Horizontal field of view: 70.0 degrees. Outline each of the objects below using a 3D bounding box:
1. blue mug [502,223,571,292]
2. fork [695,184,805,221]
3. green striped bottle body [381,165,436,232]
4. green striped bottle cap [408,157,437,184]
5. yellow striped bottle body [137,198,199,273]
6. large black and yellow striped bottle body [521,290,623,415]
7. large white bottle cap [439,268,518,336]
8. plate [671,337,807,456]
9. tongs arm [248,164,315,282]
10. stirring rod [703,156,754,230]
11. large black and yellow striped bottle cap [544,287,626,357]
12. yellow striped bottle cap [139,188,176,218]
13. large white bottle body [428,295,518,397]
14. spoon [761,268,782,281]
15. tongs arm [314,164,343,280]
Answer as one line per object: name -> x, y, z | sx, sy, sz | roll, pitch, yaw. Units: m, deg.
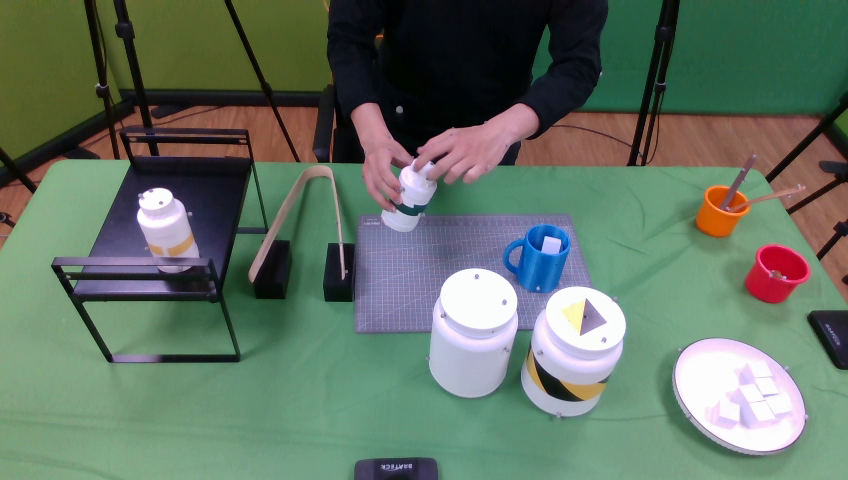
blue mug -> 0.202, 0.031, 1.121 | 0.116, 0.106, 0.082 | 5, 47, 1
fork -> 0.657, -0.075, 1.230 | 0.207, 0.019, 0.028 | -23, 34, 37
green striped bottle body -> -0.023, -0.074, 0.982 | 0.063, 0.119, 0.063 | 15, 43, -15
green striped bottle cap -> -0.002, -0.109, 0.948 | 0.044, 0.020, 0.044 | 15, 44, -15
yellow striped bottle body -> -0.366, -0.014, 0.864 | 0.063, 0.121, 0.062 | 2, 46, -2
large black and yellow striped bottle body -> 0.228, 0.173, 0.937 | 0.131, 0.185, 0.130 | 2, 47, -2
large white bottle cap -> 0.080, 0.089, 0.888 | 0.115, 0.018, 0.114 | 2, 47, -2
plate -> 0.504, 0.253, 0.984 | 0.208, 0.039, 0.206 | 2, 46, -2
tongs arm -> -0.270, -0.047, 1.165 | 0.028, 0.028, 0.385 | -1, 34, 7
stirring rod -> 0.631, -0.098, 1.258 | 0.014, 0.006, 0.176 | 33, 95, 29
large black and yellow striped bottle cap -> 0.232, 0.116, 0.876 | 0.115, 0.019, 0.114 | 1, 45, -1
yellow striped bottle cap -> -0.363, -0.051, 0.826 | 0.044, 0.019, 0.044 | 1, 47, 0
large white bottle body -> 0.075, 0.147, 0.950 | 0.131, 0.185, 0.130 | 2, 47, -2
spoon -> 0.638, 0.060, 1.105 | 0.041, 0.021, 0.194 | 38, 11, 24
tongs arm -> -0.188, -0.049, 1.170 | 0.051, 0.026, 0.382 | -6, 35, -6
